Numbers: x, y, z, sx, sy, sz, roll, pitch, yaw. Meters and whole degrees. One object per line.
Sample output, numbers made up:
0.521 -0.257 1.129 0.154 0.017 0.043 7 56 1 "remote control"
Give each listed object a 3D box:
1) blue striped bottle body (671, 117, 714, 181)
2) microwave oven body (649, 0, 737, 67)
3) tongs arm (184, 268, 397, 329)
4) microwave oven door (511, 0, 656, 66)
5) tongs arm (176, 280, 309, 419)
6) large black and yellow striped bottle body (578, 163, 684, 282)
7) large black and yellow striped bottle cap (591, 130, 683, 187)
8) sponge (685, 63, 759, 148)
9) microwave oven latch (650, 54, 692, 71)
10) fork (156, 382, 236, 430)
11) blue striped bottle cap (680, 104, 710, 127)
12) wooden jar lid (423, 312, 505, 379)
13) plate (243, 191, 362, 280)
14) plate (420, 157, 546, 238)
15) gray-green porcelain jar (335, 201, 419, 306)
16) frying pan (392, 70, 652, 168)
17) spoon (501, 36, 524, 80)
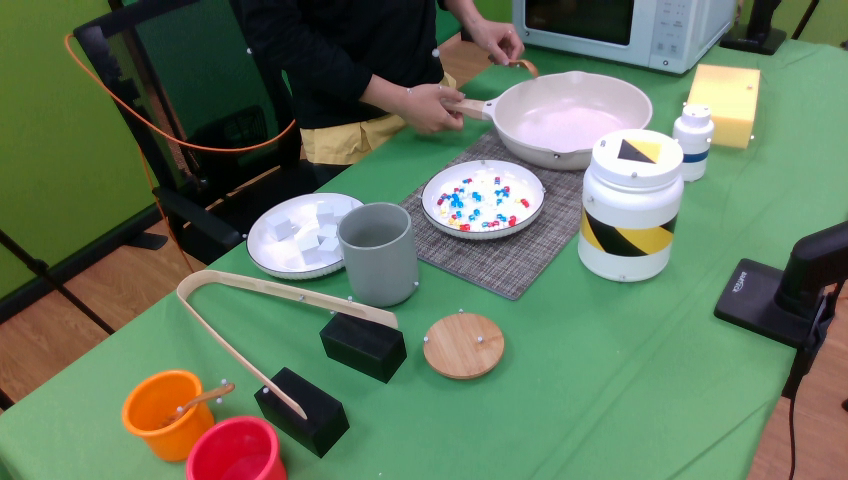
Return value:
0.449 -0.165 1.022 0.063 0.121 0.063 -5 41 5 "blue striped bottle body"
0.475 -0.602 1.411 0.438 0.261 0.327 23 50 32 "microwave oven body"
-0.202 0.084 0.848 0.382 0.027 0.051 11 45 35 "tongs arm"
0.351 -0.540 1.349 0.353 0.245 0.039 24 50 31 "microwave oven door"
-0.254 0.133 0.801 0.028 0.028 0.384 -41 41 -23 "tongs arm"
0.291 -0.046 0.859 0.131 0.185 0.130 -4 41 4 "large black and yellow striped bottle body"
0.282 -0.111 0.803 0.115 0.019 0.114 -3 41 3 "large black and yellow striped bottle cap"
0.569 -0.263 1.164 0.117 0.061 0.207 12 45 22 "sponge"
0.531 -0.386 1.301 0.078 0.029 0.030 25 51 32 "microwave oven latch"
-0.262 0.189 0.690 0.018 0.206 0.028 49 43 -7 "fork"
0.443 -0.205 0.989 0.044 0.021 0.044 -1 41 2 "blue striped bottle cap"
0.053 0.142 0.800 0.108 0.021 0.108 -5 39 4 "wooden jar lid"
-0.188 -0.005 0.992 0.207 0.039 0.206 -4 41 4 "plate"
0.099 -0.067 1.017 0.209 0.038 0.208 -4 40 4 "plate"
-0.064 0.024 0.872 0.106 0.127 0.105 -4 41 4 "gray-green porcelain jar"
0.176 -0.248 1.165 0.487 0.103 0.306 12 42 9 "frying pan"
0.186 -0.390 1.276 0.021 0.042 0.192 -16 39 11 "spoon"
